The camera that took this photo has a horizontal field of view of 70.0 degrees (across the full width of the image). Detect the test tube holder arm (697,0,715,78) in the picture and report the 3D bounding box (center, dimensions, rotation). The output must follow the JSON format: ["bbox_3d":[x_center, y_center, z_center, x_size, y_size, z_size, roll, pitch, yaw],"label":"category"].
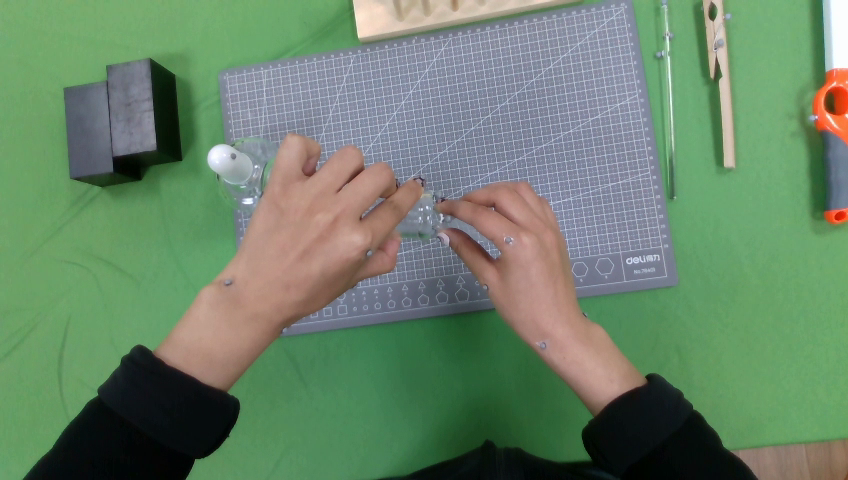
[{"bbox_3d":[0.287,-0.208,0.611,0.010,0.015,0.087,-9,85,42],"label":"test tube holder arm"}]

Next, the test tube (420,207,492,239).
[{"bbox_3d":[0.032,-0.013,0.535,0.017,0.151,0.017,-2,85,23],"label":"test tube"}]

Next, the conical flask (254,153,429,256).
[{"bbox_3d":[-0.058,-0.023,0.446,0.122,0.075,0.075,3,86,-5],"label":"conical flask"}]

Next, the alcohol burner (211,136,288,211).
[{"bbox_3d":[-0.182,-0.069,0.605,0.078,0.119,0.077,-1,85,9],"label":"alcohol burner"}]

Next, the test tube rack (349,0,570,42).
[{"bbox_3d":[0.035,-0.270,0.610,0.242,0.085,0.066,-9,84,6],"label":"test tube rack"}]

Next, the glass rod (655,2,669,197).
[{"bbox_3d":[0.242,-0.143,0.615,0.008,0.008,0.199,-2,88,6],"label":"glass rod"}]

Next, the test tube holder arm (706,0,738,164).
[{"bbox_3d":[0.295,-0.164,0.604,0.013,0.015,0.178,-11,83,42],"label":"test tube holder arm"}]

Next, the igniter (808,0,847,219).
[{"bbox_3d":[0.401,-0.158,0.588,0.057,0.025,0.276,1,86,-3],"label":"igniter"}]

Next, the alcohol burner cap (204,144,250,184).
[{"bbox_3d":[-0.187,-0.074,0.569,0.034,0.048,0.033,0,81,3],"label":"alcohol burner cap"}]
